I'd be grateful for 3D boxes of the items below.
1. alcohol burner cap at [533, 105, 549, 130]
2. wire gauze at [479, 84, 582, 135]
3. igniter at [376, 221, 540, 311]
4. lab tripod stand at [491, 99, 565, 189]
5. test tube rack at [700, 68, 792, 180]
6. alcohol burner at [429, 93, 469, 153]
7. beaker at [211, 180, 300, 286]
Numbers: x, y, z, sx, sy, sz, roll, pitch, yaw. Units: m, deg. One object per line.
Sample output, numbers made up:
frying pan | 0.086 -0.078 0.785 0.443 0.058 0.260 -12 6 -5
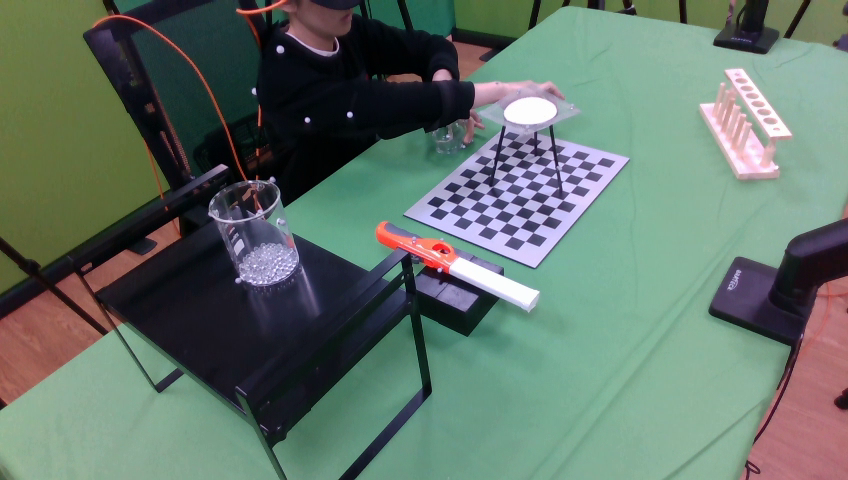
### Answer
alcohol burner cap | 0.236 -0.250 1.217 0.034 0.048 0.033 -4 44 5
wire gauze | 0.176 -0.216 1.006 0.125 0.011 0.120 -29 46 -22
igniter | 0.037 0.031 0.858 0.274 0.025 0.057 24 46 29
lab tripod stand | 0.184 -0.163 1.046 0.148 0.132 0.147 -5 42 5
test tube rack | 0.572 -0.215 1.089 0.066 0.085 0.241 -3 41 7
alcohol burner | 0.048 -0.229 1.165 0.078 0.119 0.077 -2 41 3
beaker | -0.183 -0.007 0.674 0.074 0.101 0.083 -1 40 7
